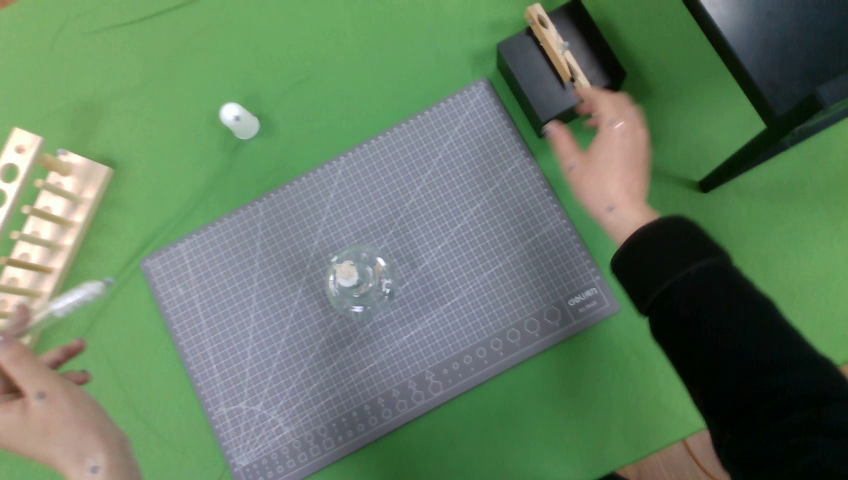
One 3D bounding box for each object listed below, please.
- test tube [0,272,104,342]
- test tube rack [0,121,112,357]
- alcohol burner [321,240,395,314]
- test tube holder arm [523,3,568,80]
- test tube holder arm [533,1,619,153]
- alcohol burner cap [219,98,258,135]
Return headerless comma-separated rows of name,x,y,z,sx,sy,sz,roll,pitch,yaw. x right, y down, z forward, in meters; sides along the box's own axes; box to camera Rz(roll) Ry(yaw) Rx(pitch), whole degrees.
test tube,-0.293,0.062,0.419,0.017,0.017,0.150,41,43,10
test tube rack,-0.445,0.003,0.664,0.066,0.085,0.242,21,84,8
alcohol burner,-0.070,0.035,0.611,0.078,0.119,0.077,-1,80,7
test tube holder arm,0.128,-0.206,0.628,0.010,0.015,0.087,-26,81,-15
test tube holder arm,0.154,-0.168,0.623,0.013,0.015,0.177,-25,81,-15
alcohol burner cap,-0.213,-0.143,0.686,0.034,0.048,0.033,-2,78,9
